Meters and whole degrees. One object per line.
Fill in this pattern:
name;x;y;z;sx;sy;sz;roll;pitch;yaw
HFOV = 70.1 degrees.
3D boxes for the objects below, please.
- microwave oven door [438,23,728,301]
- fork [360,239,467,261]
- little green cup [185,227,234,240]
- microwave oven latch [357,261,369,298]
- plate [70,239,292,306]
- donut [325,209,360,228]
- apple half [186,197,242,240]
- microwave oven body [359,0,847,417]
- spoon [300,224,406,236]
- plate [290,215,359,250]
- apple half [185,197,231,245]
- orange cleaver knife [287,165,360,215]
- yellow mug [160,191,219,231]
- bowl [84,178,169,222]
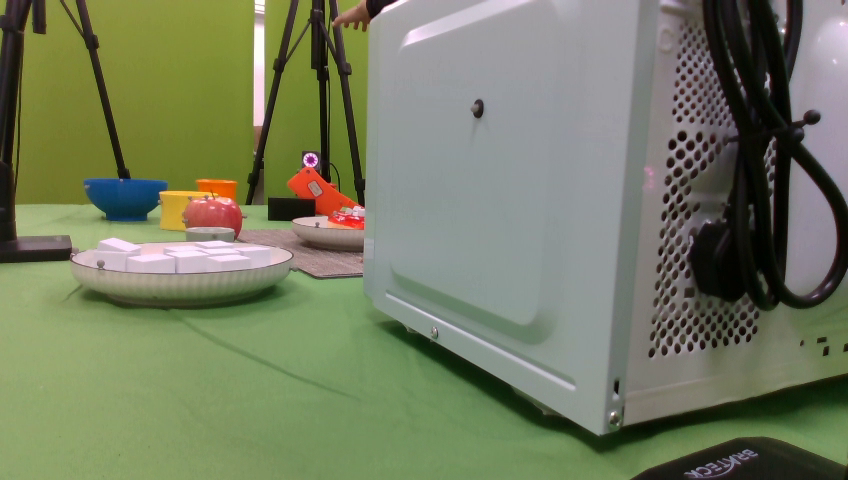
microwave oven door;0.181;-0.072;0.620;0.358;0.243;0.039;-2;8;-29
fork;-0.008;0.014;0.871;0.028;0.018;0.208;-6;-1;45
little green cup;-0.285;0.005;0.805;0.061;0.038;0.061;2;8;0
microwave oven latch;-0.019;0.033;0.530;0.079;0.029;0.030;-1;7;-26
plate;-0.242;0.031;0.618;0.208;0.039;0.207;3;8;0
donut;-0.110;-0.024;0.973;0.099;0.048;0.099;5;7;0
apple half;-0.306;-0.026;0.904;0.053;0.074;0.081;14;9;37
microwave oven body;0.211;-0.047;0.474;0.444;0.260;0.324;-1;7;-28
spoon;-0.127;-0.018;1.104;0.194;0.021;0.041;0;7;-16
plate;-0.110;-0.013;0.973;0.209;0.038;0.209;3;8;0
apple half;-0.337;-0.031;0.927;0.032;0.081;0.082;13;13;37
orange cleaver knife;-0.211;-0.093;1.382;0.212;0.077;0.012;33;1;-15
yellow mug;-0.416;-0.053;1.103;0.130;0.064;0.100;7;8;26
bowl;-0.584;-0.078;1.194;0.151;0.077;0.151;3;8;0
